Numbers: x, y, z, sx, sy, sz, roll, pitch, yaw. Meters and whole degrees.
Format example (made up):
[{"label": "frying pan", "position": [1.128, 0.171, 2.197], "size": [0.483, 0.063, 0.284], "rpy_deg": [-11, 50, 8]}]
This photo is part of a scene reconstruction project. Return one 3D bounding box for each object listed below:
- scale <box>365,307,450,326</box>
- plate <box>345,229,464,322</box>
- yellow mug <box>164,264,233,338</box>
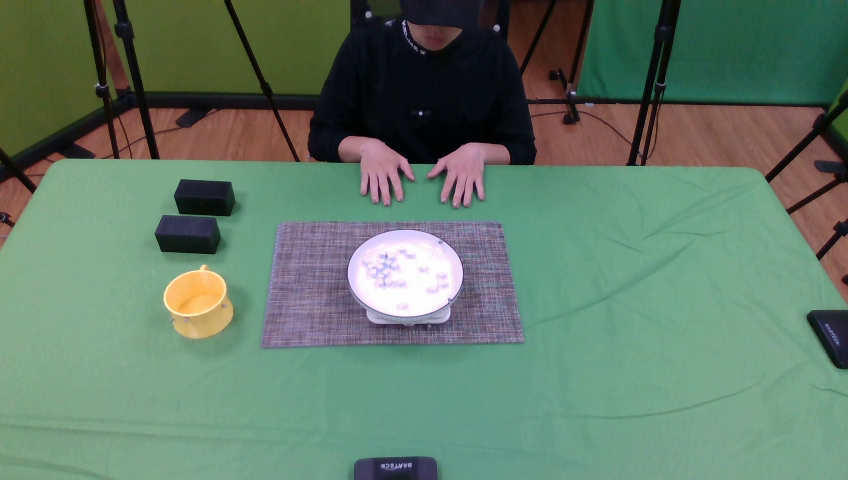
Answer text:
[{"label": "scale", "position": [-0.032, 0.071, 1.113], "size": [0.149, 0.032, 0.199], "rpy_deg": [0, 46, -4]}, {"label": "plate", "position": [-0.034, 0.065, 1.073], "size": [0.209, 0.038, 0.208], "rpy_deg": [2, 46, -2]}, {"label": "yellow mug", "position": [-0.384, 0.097, 1.044], "size": [0.100, 0.064, 0.130], "rpy_deg": [-1, 45, -5]}]
